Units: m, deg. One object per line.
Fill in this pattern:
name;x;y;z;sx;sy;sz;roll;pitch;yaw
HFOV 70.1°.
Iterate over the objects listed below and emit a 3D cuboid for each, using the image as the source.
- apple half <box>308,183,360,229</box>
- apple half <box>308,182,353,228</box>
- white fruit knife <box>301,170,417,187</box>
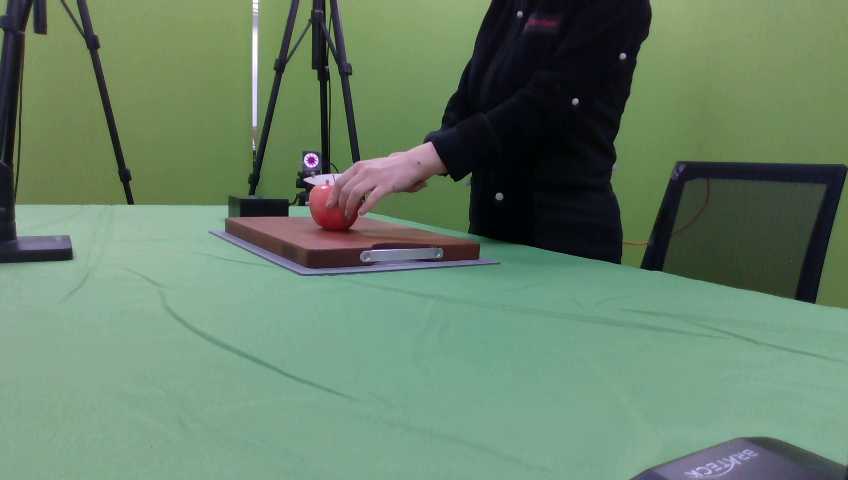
apple half;-0.136;-0.052;0.948;0.081;0.074;0.053;2;11;-36
apple half;-0.157;-0.058;0.979;0.082;0.081;0.032;-2;11;-33
white fruit knife;-0.101;-0.101;0.989;0.208;0.027;0.016;-5;5;-33
